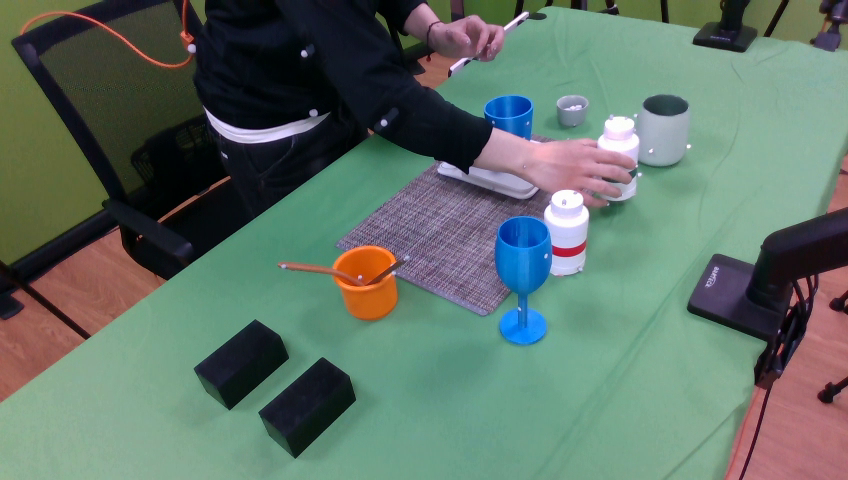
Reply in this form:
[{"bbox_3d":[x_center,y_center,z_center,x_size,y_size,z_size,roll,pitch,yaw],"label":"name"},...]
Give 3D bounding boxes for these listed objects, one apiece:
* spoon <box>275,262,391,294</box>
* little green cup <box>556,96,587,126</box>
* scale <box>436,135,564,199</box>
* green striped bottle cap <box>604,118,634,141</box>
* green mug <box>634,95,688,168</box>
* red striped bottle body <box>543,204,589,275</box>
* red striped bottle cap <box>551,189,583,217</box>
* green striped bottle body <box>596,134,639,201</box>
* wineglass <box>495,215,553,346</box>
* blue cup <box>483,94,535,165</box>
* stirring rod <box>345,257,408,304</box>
[{"bbox_3d":[-0.120,0.050,0.830,0.041,0.195,0.021,31,97,45],"label":"spoon"},{"bbox_3d":[0.295,-0.258,1.214,0.061,0.039,0.061,-5,41,4],"label":"little green cup"},{"bbox_3d":[0.137,-0.141,1.101,0.199,0.032,0.149,22,48,30],"label":"scale"},{"bbox_3d":[0.299,-0.169,0.929,0.044,0.020,0.044,-5,39,5],"label":"green striped bottle cap"},{"bbox_3d":[0.421,-0.201,1.081,0.092,0.105,0.125,6,42,15],"label":"green mug"},{"bbox_3d":[0.206,-0.011,0.877,0.063,0.120,0.062,-4,41,4],"label":"red striped bottle body"},{"bbox_3d":[0.200,-0.052,0.843,0.044,0.018,0.044,-1,43,2],"label":"red striped bottle cap"},{"bbox_3d":[0.307,-0.126,0.964,0.063,0.120,0.063,-7,38,6],"label":"green striped bottle body"},{"bbox_3d":[0.127,0.054,0.770,0.074,0.173,0.073,-4,40,4],"label":"wineglass"},{"bbox_3d":[0.149,-0.188,1.053,0.092,0.101,0.092,-6,39,5],"label":"blue cup"},{"bbox_3d":[-0.067,0.057,0.814,0.014,0.175,0.006,-24,82,-38],"label":"stirring rod"}]
